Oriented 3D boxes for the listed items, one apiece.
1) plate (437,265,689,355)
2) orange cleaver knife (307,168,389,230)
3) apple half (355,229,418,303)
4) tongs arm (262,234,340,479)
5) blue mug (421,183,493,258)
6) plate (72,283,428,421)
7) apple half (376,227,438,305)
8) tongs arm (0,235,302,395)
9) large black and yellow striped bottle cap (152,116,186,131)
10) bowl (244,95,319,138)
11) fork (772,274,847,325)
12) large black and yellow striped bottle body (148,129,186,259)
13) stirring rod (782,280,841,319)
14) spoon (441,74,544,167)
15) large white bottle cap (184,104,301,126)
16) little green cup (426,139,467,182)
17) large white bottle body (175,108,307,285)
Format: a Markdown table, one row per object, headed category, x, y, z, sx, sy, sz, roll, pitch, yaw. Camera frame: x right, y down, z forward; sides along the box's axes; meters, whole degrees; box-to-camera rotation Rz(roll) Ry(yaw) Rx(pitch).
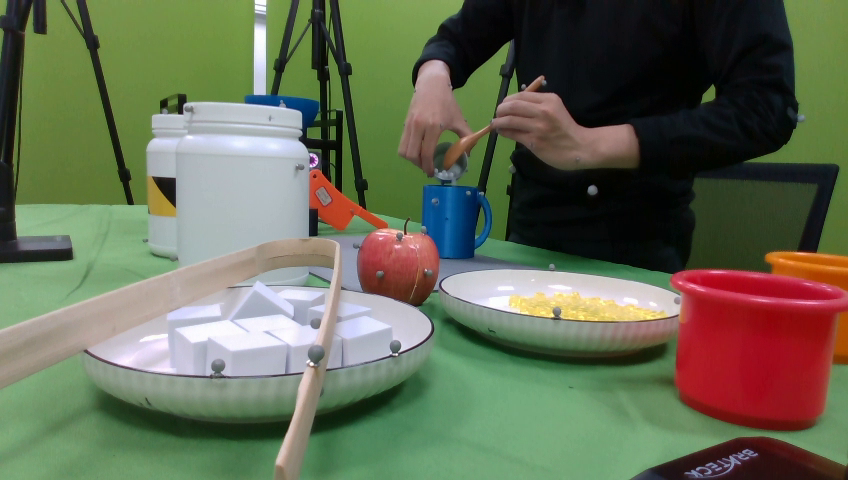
| category | x | y | z | sx | sy | sz | roll | pitch | yaw |
| --- | --- | --- | --- | --- | --- | --- | --- | --- | --- |
| plate | 0.114 | 0.057 | 0.517 | 0.209 | 0.038 | 0.209 | 3 | 7 | 0 |
| orange cleaver knife | -0.158 | -0.060 | 1.166 | 0.212 | 0.077 | 0.012 | 34 | -12 | -32 |
| apple half | -0.044 | 0.027 | 0.564 | 0.081 | 0.081 | 0.033 | 9 | 5 | 42 |
| tongs arm | -0.074 | 0.039 | 0.349 | 0.051 | 0.026 | 0.384 | -2 | 10 | -3 |
| blue mug | 0.052 | -0.032 | 0.912 | 0.117 | 0.106 | 0.082 | -1 | 8 | -24 |
| plate | -0.102 | 0.066 | 0.381 | 0.208 | 0.039 | 0.207 | 2 | 7 | 0 |
| apple half | -0.017 | 0.026 | 0.593 | 0.080 | 0.074 | 0.053 | 4 | 2 | 43 |
| tongs arm | -0.157 | 0.038 | 0.351 | 0.028 | 0.028 | 0.388 | -3 | 9 | 12 |
| large black and yellow striped bottle cap | -0.309 | -0.155 | 0.826 | 0.115 | 0.019 | 0.115 | 3 | 6 | 0 |
| bowl | -0.293 | -0.251 | 1.249 | 0.151 | 0.077 | 0.151 | 2 | 7 | 0 |
| fork | 0.332 | 0.018 | 0.443 | 0.028 | 0.018 | 0.207 | -1 | -36 | -15 |
| large black and yellow striped bottle body | -0.310 | -0.073 | 0.838 | 0.131 | 0.184 | 0.130 | 2 | 8 | 0 |
| stirring rod | 0.344 | 0.019 | 0.460 | 0.014 | 0.006 | 0.176 | -13 | -27 | -30 |
| spoon | 0.093 | -0.167 | 0.853 | 0.193 | 0.022 | 0.041 | -35 | 31 | 25 |
| large white bottle cap | -0.184 | -0.126 | 0.618 | 0.115 | 0.018 | 0.115 | 2 | 8 | 0 |
| little green cup | 0.035 | -0.120 | 0.927 | 0.061 | 0.061 | 0.038 | 3 | -19 | 5 |
| large white bottle body | -0.188 | -0.042 | 0.630 | 0.131 | 0.184 | 0.130 | 2 | 8 | 0 |
